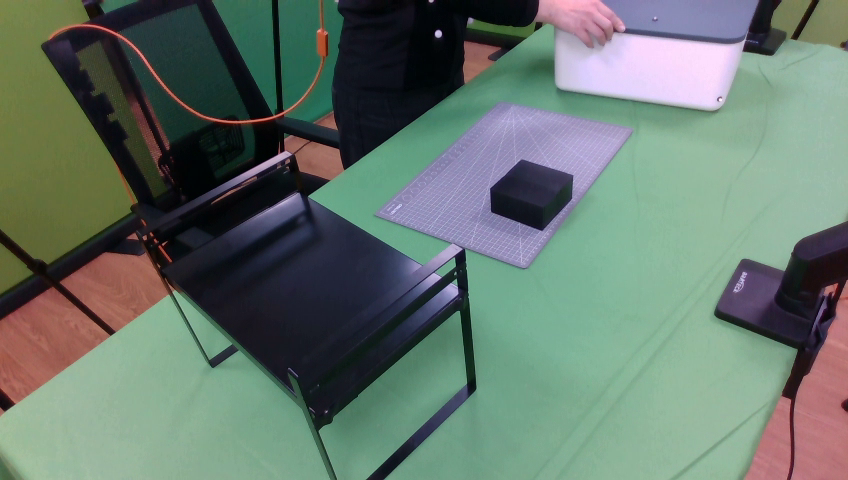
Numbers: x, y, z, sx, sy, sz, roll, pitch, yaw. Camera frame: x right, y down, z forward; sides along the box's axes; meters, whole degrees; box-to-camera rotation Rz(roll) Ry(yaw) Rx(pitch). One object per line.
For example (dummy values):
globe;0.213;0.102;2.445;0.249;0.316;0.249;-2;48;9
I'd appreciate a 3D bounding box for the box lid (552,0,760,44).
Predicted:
box lid;0.471;-0.472;1.235;0.369;0.015;0.263;16;45;25

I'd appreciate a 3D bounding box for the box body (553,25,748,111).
box body;0.480;-0.417;1.282;0.362;0.161;0.254;16;46;25

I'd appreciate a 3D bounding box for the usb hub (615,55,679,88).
usb hub;0.482;-0.366;1.309;0.124;0.025;0.049;25;48;24
